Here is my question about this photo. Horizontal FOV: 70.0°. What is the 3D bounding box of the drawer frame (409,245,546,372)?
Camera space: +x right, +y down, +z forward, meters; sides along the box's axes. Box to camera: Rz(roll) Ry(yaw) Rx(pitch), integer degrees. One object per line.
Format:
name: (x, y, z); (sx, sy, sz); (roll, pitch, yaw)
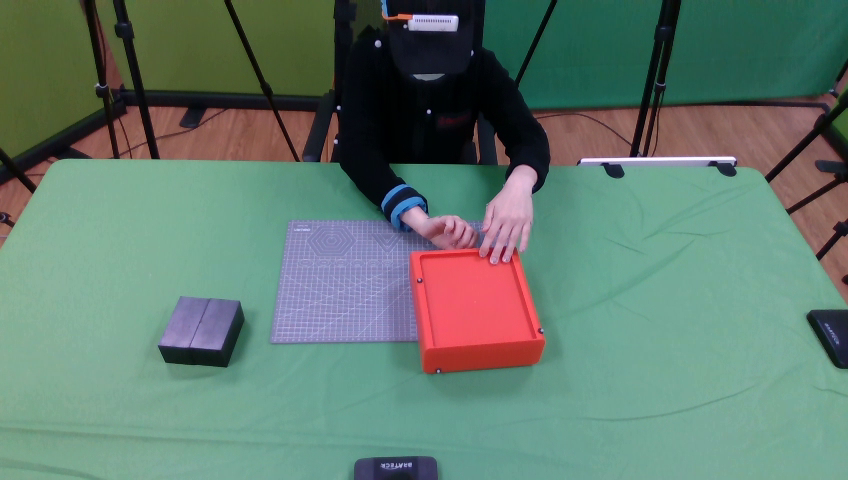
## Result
drawer frame: (0.084, 0.113, 1.049); (0.202, 0.083, 0.212); (-3, 47, -8)

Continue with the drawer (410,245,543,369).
drawer: (0.083, 0.111, 1.053); (0.195, 0.073, 0.210); (-3, 48, -8)

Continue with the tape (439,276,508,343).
tape: (0.085, 0.119, 1.053); (0.117, 0.053, 0.116); (2, 45, -2)
